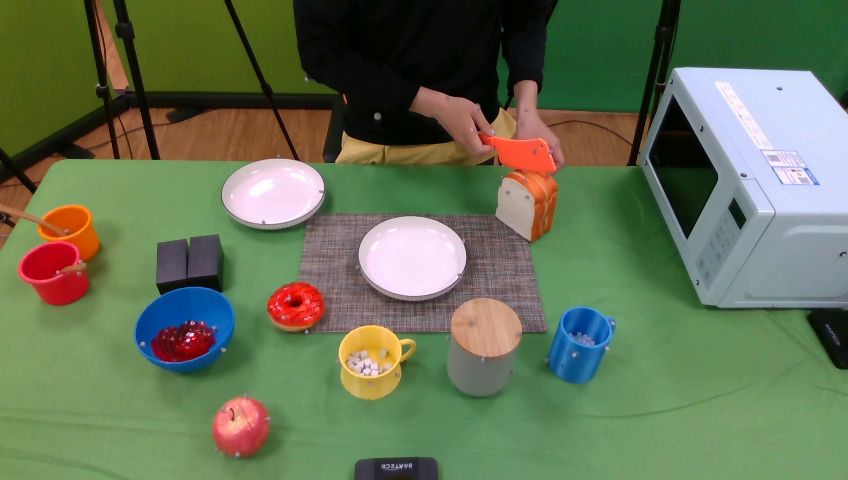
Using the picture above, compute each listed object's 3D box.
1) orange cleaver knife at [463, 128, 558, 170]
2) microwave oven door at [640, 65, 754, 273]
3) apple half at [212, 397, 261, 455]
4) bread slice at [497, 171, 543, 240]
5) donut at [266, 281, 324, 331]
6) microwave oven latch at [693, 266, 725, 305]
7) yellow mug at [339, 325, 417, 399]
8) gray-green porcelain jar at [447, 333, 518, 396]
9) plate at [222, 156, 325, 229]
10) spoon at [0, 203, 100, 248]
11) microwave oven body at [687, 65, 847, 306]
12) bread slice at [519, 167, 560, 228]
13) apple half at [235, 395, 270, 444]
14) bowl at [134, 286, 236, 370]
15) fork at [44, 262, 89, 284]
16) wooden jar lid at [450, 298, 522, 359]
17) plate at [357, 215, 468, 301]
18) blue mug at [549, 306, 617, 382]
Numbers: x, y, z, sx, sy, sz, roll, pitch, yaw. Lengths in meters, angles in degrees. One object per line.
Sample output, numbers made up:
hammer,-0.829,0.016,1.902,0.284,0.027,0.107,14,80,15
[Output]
orange cleaver knife,0.162,-0.175,1.157,0.210,0.077,0.012,20,51,41
microwave oven door,0.523,-0.147,1.193,0.039,0.245,0.353,0,47,-3
apple half,-0.276,0.276,0.877,0.053,0.075,0.080,-29,58,-21
bread slice,0.188,-0.072,1.198,0.019,0.132,0.104,-33,54,-27
donut,-0.222,0.114,1.049,0.099,0.048,0.098,2,45,-2
microwave oven latch,0.523,0.082,1.115,0.030,0.029,0.078,3,46,0
yellow mug,-0.072,0.191,0.978,0.131,0.064,0.099,-17,50,-20
gray-green porcelain jar,0.091,0.178,0.960,0.106,0.127,0.105,2,46,-2
plate,-0.308,-0.095,1.251,0.209,0.038,0.208,2,47,-2
spoon,-0.683,-0.031,1.088,0.195,0.021,0.041,33,33,-38
microwave oven body,0.669,-0.111,1.176,0.326,0.261,0.439,0,46,-3
bread slice,0.227,-0.093,1.223,0.018,0.135,0.106,-35,60,-27
apple half,-0.245,0.259,0.893,0.033,0.082,0.081,-29,55,-22
bowl,-0.377,0.155,0.981,0.151,0.077,0.150,2,46,-2
fork,-0.598,0.054,1.014,0.207,0.019,0.028,-15,29,45
wooden jar lid,0.093,0.135,0.914,0.108,0.021,0.107,3,48,-3
plate,-0.022,0.037,1.141,0.208,0.039,0.206,2,46,-2
blue mug,0.269,0.166,0.998,0.116,0.106,0.082,-19,51,-21
